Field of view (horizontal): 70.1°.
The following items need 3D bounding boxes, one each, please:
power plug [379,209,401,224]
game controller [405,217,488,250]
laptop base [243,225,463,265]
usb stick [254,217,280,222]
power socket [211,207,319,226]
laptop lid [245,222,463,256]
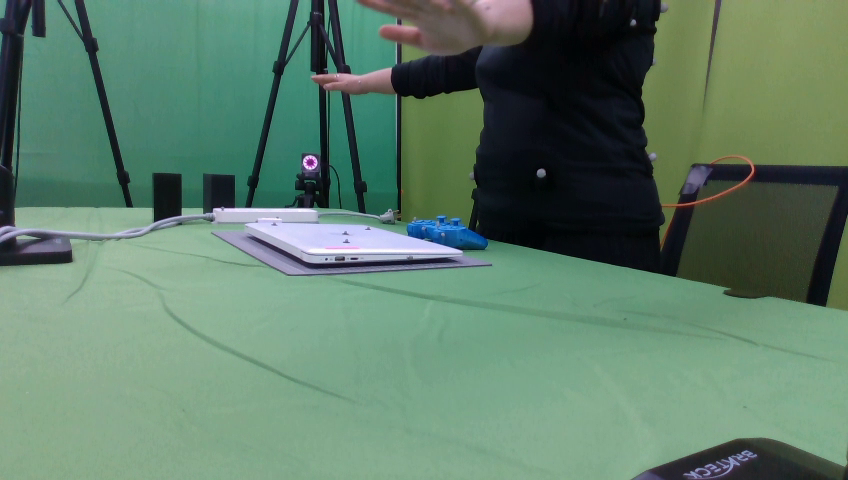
[{"bbox_3d":[-0.081,-0.061,1.421,0.053,0.035,0.072,-15,21,-6],"label":"power plug"},{"bbox_3d":[0.034,-0.013,1.067,0.097,0.051,0.154,-6,10,-29],"label":"game controller"},{"bbox_3d":[-0.129,0.007,0.952,0.237,0.023,0.352,2,6,-30],"label":"laptop base"},{"bbox_3d":[-0.296,-0.028,1.114,0.059,0.027,0.021,-4,12,-31],"label":"usb stick"},{"bbox_3d":[-0.335,-0.051,1.282,0.228,0.032,0.072,-2,10,-29],"label":"power socket"},{"bbox_3d":[-0.126,-0.005,0.951,0.243,0.013,0.355,1,7,-28],"label":"laptop lid"}]
